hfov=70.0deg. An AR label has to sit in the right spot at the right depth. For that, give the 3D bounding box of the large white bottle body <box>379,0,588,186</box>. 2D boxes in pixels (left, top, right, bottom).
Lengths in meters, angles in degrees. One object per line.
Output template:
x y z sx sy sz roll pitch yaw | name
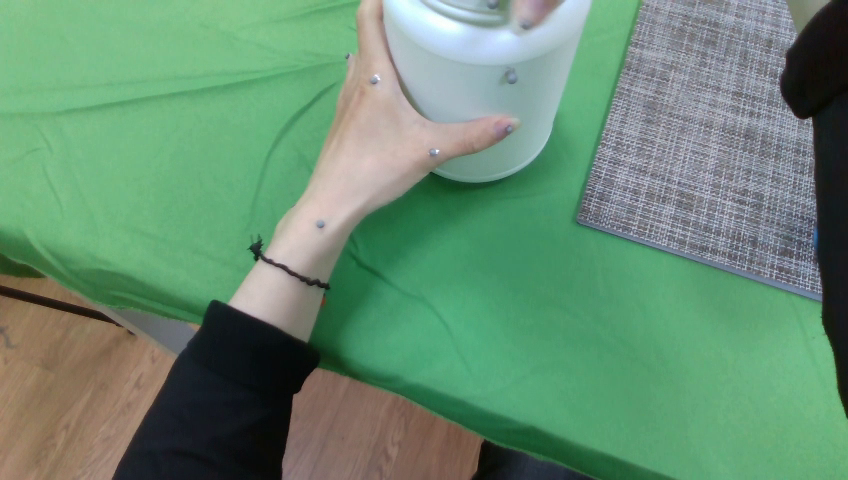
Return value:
0.036 -0.136 0.416 0.130 0.186 0.129 0 64 0 | large white bottle body

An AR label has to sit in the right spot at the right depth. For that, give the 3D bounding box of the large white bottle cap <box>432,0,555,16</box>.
0.037 -0.174 0.338 0.115 0.018 0.114 0 65 -1 | large white bottle cap

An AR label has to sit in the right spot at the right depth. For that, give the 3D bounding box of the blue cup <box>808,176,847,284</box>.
0.313 -0.015 0.403 0.092 0.101 0.092 0 63 1 | blue cup
